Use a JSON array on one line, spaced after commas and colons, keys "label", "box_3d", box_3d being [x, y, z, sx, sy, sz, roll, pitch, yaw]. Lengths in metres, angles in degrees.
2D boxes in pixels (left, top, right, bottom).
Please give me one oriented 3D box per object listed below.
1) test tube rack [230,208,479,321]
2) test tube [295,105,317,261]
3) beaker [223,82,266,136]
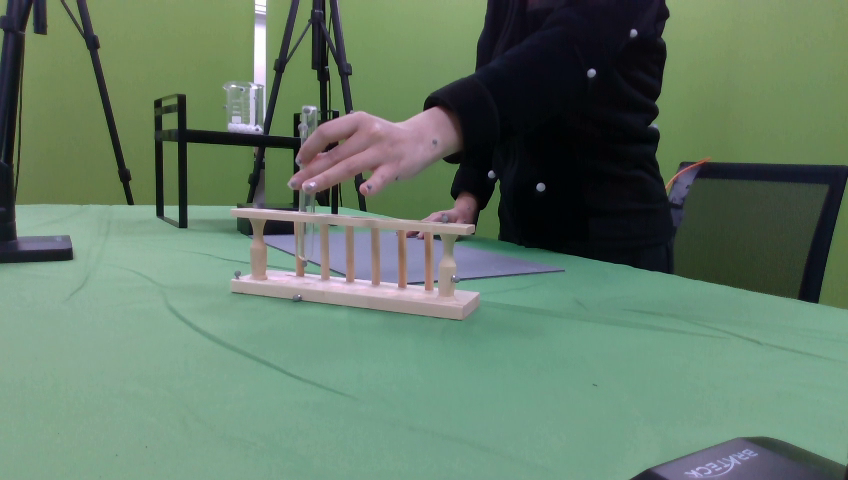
[{"label": "test tube rack", "box_3d": [-0.069, 0.017, 0.598, 0.242, 0.085, 0.067, 5, 8, 18]}, {"label": "test tube", "box_3d": [-0.114, -0.054, 0.584, 0.017, 0.150, 0.017, 4, 8, 0]}, {"label": "beaker", "box_3d": [-0.362, -0.262, 1.214, 0.084, 0.100, 0.074, 2, 7, -1]}]
